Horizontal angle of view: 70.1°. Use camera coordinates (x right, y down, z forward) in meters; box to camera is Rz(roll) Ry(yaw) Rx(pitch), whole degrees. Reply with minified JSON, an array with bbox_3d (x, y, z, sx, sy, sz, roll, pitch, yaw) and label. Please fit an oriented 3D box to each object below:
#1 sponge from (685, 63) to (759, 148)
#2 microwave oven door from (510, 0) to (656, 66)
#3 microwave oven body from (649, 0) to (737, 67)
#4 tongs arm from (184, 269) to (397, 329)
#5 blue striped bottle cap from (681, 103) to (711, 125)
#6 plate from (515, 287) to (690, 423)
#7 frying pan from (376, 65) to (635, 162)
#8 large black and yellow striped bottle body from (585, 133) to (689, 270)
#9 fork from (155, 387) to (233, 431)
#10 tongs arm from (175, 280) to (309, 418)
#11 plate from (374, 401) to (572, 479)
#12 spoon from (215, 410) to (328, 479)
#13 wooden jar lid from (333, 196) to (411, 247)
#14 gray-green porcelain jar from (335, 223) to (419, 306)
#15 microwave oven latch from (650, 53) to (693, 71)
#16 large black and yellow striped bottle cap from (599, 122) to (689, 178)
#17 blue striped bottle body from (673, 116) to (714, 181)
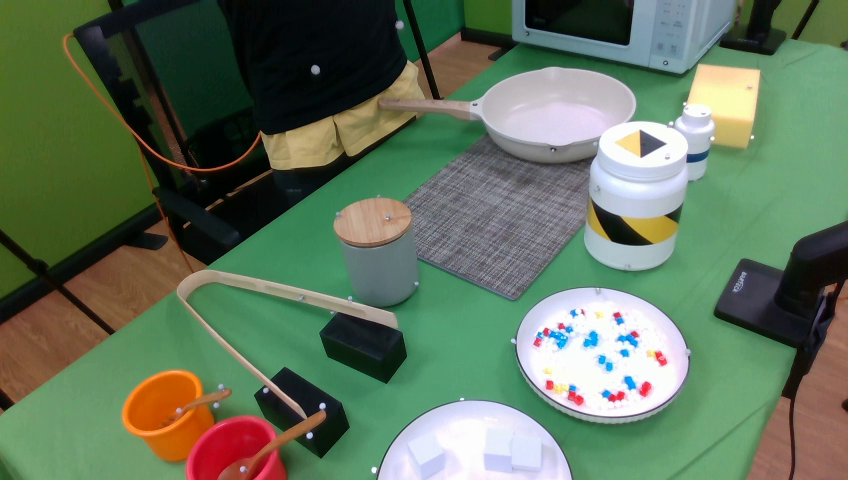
[{"bbox_3d":[0.569,-0.263,1.164,0.117,0.061,0.207,12,45,22],"label":"sponge"},{"bbox_3d":[0.350,-0.539,1.349,0.353,0.245,0.039,24,50,31],"label":"microwave oven door"},{"bbox_3d":[0.475,-0.602,1.411,0.438,0.261,0.327,23,50,32],"label":"microwave oven body"},{"bbox_3d":[-0.202,0.085,0.847,0.382,0.027,0.051,11,44,34],"label":"tongs arm"},{"bbox_3d":[0.446,-0.205,0.990,0.044,0.021,0.044,-5,43,5],"label":"blue striped bottle cap"},{"bbox_3d":[0.221,0.144,0.760,0.209,0.038,0.208,-4,40,4],"label":"plate"},{"bbox_3d":[0.150,-0.254,1.176,0.488,0.103,0.306,6,41,3],"label":"frying pan"},{"bbox_3d":[0.305,-0.061,0.874,0.131,0.185,0.130,-4,41,4],"label":"large black and yellow striped bottle body"},{"bbox_3d":[-0.264,0.191,0.688,0.206,0.018,0.028,-34,8,44],"label":"fork"},{"bbox_3d":[-0.255,0.133,0.800,0.028,0.028,0.384,-41,40,-23],"label":"tongs arm"},{"bbox_3d":[0.051,0.268,0.639,0.207,0.039,0.206,-3,40,3],"label":"plate"},{"bbox_3d":[-0.165,0.224,0.639,0.193,0.022,0.041,-40,32,30],"label":"spoon"},{"bbox_3d":[-0.071,-0.023,0.830,0.108,0.021,0.108,-4,36,3],"label":"wooden jar lid"},{"bbox_3d":[-0.064,0.024,0.872,0.106,0.127,0.105,-4,41,4],"label":"gray-green porcelain jar"},{"bbox_3d":[0.531,-0.386,1.301,0.078,0.029,0.030,26,51,33],"label":"microwave oven latch"},{"bbox_3d":[0.296,-0.123,0.818,0.115,0.019,0.114,-5,40,5],"label":"large black and yellow striped bottle cap"},{"bbox_3d":[0.451,-0.166,1.023,0.063,0.121,0.063,-4,41,4],"label":"blue striped bottle body"}]
